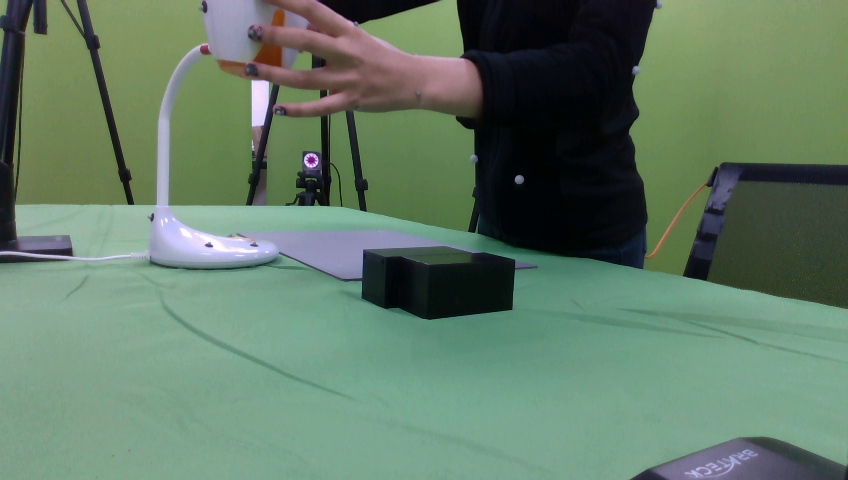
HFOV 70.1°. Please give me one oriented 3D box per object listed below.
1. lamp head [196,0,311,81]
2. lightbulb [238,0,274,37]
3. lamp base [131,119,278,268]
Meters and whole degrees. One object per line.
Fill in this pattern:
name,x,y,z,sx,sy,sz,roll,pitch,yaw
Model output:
lamp head,-0.165,-0.214,0.573,0.112,0.123,0.112,9,8,-1
lightbulb,-0.157,-0.246,0.567,0.059,0.107,0.059,4,6,0
lamp base,-0.280,-0.061,0.770,0.160,0.180,0.180,9,13,43
